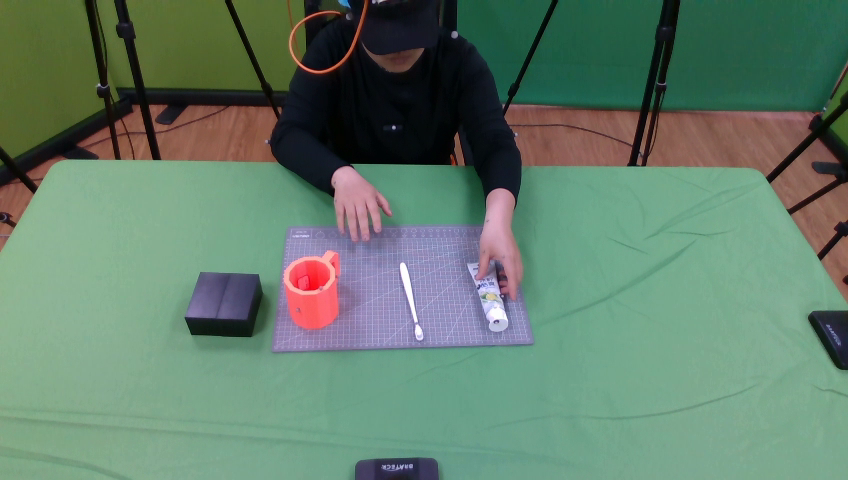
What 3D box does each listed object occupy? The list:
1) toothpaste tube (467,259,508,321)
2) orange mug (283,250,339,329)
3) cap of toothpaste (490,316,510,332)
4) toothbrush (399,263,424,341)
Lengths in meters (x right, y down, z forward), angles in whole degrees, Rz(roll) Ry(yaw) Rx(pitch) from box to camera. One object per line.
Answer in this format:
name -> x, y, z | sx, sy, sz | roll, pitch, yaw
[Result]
toothpaste tube -> 0.122, 0.094, 1.108 | 0.055, 0.035, 0.164 | -5, 42, -7
orange mug -> -0.186, 0.079, 1.052 | 0.083, 0.101, 0.126 | 20, 52, 15
cap of toothpaste -> 0.130, 0.144, 1.049 | 0.037, 0.037, 0.011 | -4, 41, -7
toothbrush -> -0.025, 0.106, 1.093 | 0.014, 0.017, 0.180 | -18, 46, 2
